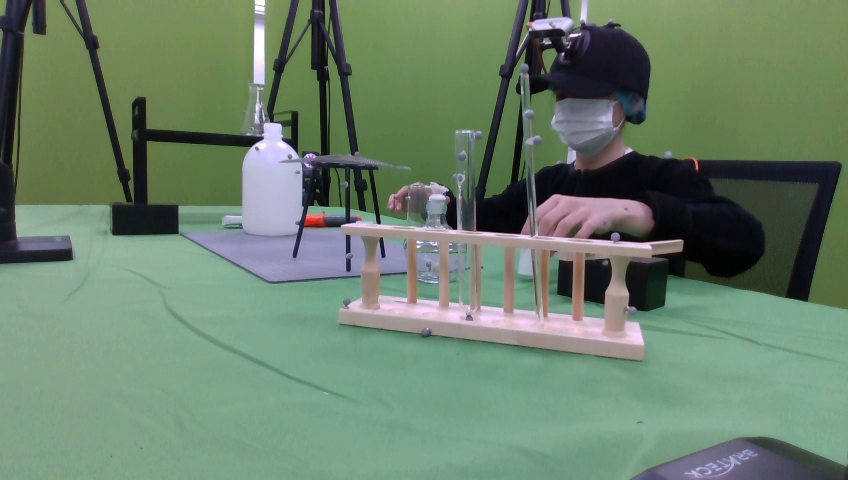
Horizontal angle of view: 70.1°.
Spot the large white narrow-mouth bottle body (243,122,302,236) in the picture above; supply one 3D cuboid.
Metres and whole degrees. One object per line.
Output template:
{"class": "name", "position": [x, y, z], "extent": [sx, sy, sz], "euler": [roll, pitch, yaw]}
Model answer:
{"class": "large white narrow-mouth bottle body", "position": [-0.264, -0.109, 1.061], "extent": [0.102, 0.194, 0.102], "euler": [2, 8, 0]}

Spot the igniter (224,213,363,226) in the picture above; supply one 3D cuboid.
{"class": "igniter", "position": [-0.254, -0.041, 1.210], "extent": [0.278, 0.025, 0.057], "euler": [-2, -2, -31]}

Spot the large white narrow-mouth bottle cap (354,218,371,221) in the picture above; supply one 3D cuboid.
{"class": "large white narrow-mouth bottle cap", "position": [-0.120, -0.029, 1.184], "extent": [0.038, 0.024, 0.037], "euler": [2, 8, 0]}

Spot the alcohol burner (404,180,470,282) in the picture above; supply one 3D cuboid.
{"class": "alcohol burner", "position": [0.015, -0.011, 0.715], "extent": [0.078, 0.119, 0.078], "euler": [0, 7, 0]}

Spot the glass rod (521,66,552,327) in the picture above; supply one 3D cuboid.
{"class": "glass rod", "position": [0.085, -0.028, 0.454], "extent": [0.008, 0.199, 0.008], "euler": [-7, 10, 2]}

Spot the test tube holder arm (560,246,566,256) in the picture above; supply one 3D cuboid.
{"class": "test tube holder arm", "position": [0.173, 0.007, 0.611], "extent": [0.088, 0.015, 0.010], "euler": [-3, 9, -30]}

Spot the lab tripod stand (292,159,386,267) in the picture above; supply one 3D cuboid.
{"class": "lab tripod stand", "position": [-0.105, -0.039, 0.797], "extent": [0.148, 0.131, 0.148], "euler": [2, 5, 0]}

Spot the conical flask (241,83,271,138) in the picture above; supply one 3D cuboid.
{"class": "conical flask", "position": [-0.384, -0.297, 1.393], "extent": [0.075, 0.122, 0.075], "euler": [2, 7, 0]}

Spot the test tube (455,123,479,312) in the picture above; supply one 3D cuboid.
{"class": "test tube", "position": [0.034, -0.016, 0.476], "extent": [0.017, 0.150, 0.017], "euler": [-2, 10, 1]}

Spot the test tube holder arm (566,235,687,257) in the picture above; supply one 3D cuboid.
{"class": "test tube holder arm", "position": [0.215, 0.006, 0.629], "extent": [0.179, 0.015, 0.013], "euler": [-3, 9, -30]}

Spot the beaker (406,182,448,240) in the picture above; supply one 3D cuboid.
{"class": "beaker", "position": [0.008, -0.053, 1.102], "extent": [0.074, 0.100, 0.083], "euler": [-6, 12, -44]}

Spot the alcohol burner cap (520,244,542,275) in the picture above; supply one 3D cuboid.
{"class": "alcohol burner cap", "position": [0.135, 0.017, 0.740], "extent": [0.034, 0.048, 0.034], "euler": [4, 3, 0]}

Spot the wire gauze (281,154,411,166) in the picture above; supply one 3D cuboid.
{"class": "wire gauze", "position": [-0.102, -0.105, 0.785], "extent": [0.121, 0.011, 0.126], "euler": [7, 8, 43]}

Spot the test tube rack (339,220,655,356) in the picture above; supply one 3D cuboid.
{"class": "test tube rack", "position": [0.056, 0.032, 0.495], "extent": [0.242, 0.085, 0.067], "euler": [4, 7, 15]}
